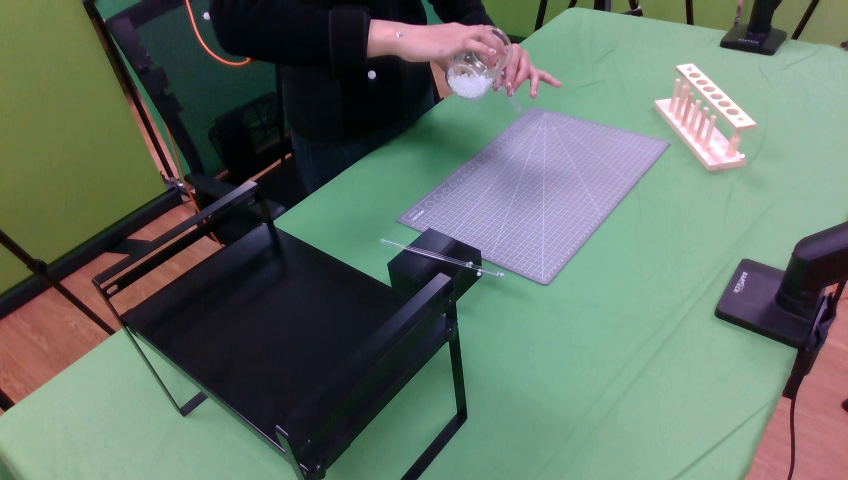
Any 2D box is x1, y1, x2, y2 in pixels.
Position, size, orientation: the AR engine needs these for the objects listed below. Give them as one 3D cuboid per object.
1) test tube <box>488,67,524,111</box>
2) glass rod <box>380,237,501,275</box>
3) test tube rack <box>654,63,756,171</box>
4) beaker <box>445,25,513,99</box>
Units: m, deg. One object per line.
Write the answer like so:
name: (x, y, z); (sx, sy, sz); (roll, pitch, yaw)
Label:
test tube: (0.144, -0.257, 1.041); (0.017, 0.151, 0.017); (-6, 75, 26)
glass rod: (0.020, 0.023, 0.881); (0.198, 0.008, 0.008); (16, 46, 25)
test tube rack: (0.510, -0.234, 1.120); (0.067, 0.085, 0.241); (-8, 41, -1)
beaker: (0.083, -0.268, 0.924); (0.073, 0.084, 0.100); (17, 52, 25)
